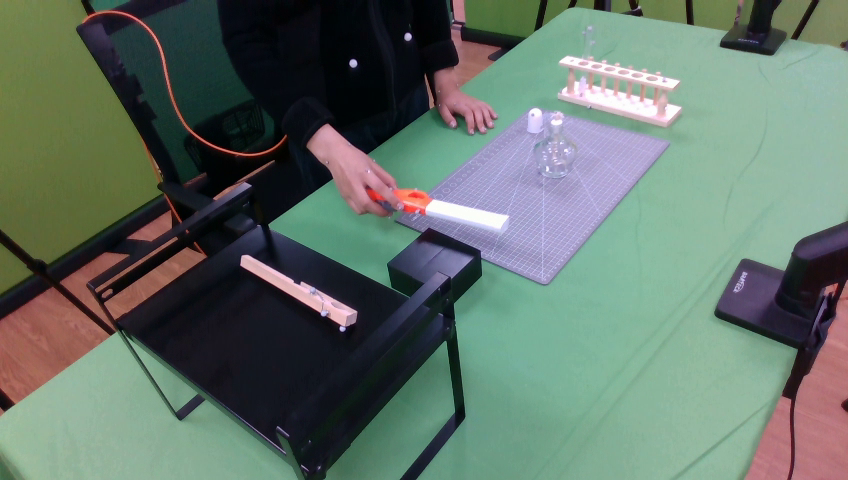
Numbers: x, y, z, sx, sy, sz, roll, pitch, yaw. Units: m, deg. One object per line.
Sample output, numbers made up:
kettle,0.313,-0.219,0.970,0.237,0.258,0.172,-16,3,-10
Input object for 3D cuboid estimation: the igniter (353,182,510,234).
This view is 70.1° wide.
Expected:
igniter,0.001,-0.053,0.930,0.274,0.025,0.057,15,41,28

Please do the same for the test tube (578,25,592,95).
test tube,0.326,-0.362,1.227,0.017,0.151,0.017,-3,44,4

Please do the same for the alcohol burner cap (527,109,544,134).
alcohol burner cap,0.222,-0.238,1.203,0.034,0.048,0.033,-5,41,5

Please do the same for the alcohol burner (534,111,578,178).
alcohol burner,0.232,-0.170,1.065,0.078,0.119,0.077,-5,39,4

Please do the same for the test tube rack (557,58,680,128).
test tube rack,0.395,-0.309,1.230,0.240,0.085,0.067,25,50,33

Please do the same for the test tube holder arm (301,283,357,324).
test tube holder arm,-0.105,0.066,0.638,0.087,0.015,0.010,22,14,33

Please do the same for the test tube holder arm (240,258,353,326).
test tube holder arm,-0.143,0.053,0.658,0.177,0.015,0.013,21,14,32
